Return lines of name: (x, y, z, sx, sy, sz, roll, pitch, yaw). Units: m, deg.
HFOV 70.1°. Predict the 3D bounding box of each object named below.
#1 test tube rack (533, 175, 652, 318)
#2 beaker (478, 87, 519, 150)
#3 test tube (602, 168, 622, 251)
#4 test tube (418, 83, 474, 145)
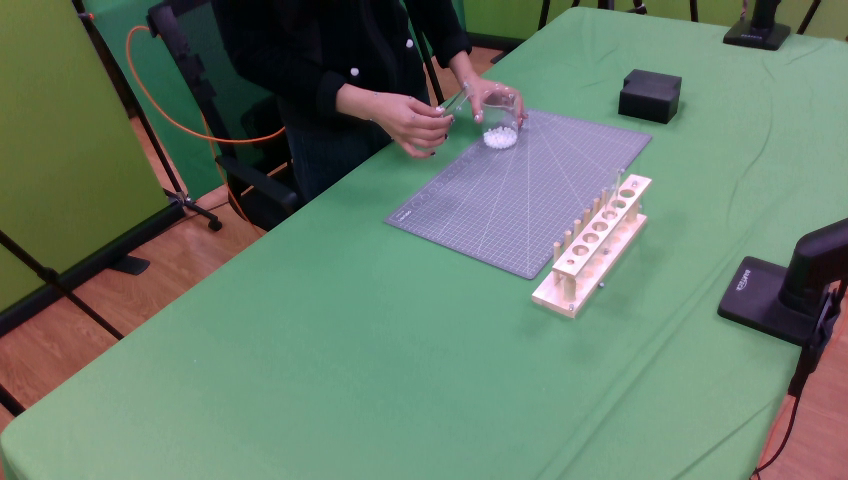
test tube rack: (0.250, -0.001, 0.889, 0.066, 0.085, 0.243, 22, 49, 33)
beaker: (0.148, -0.231, 1.164, 0.074, 0.101, 0.083, -29, 44, -21)
test tube: (0.264, -0.039, 0.854, 0.017, 0.151, 0.017, -5, 44, 6)
test tube: (0.037, -0.218, 1.061, 0.017, 0.150, 0.017, 27, 40, -25)
